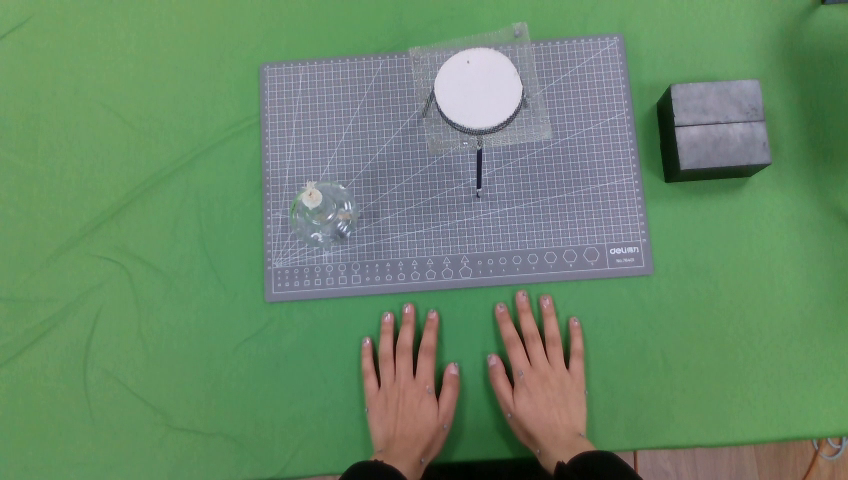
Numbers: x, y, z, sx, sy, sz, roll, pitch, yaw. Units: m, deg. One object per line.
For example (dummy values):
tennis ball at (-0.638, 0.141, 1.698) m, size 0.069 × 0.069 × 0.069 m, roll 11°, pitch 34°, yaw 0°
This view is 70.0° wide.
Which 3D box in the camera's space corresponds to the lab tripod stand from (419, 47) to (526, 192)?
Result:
lab tripod stand at (0.058, -0.142, 0.665) m, size 0.148 × 0.132 × 0.147 m, roll 0°, pitch 78°, yaw 2°

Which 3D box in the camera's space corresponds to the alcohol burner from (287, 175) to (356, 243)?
alcohol burner at (-0.116, -0.038, 0.664) m, size 0.078 × 0.119 × 0.077 m, roll 0°, pitch 78°, yaw 2°

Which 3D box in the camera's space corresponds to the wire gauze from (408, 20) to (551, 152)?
wire gauze at (0.053, -0.152, 0.599) m, size 0.125 × 0.011 × 0.121 m, roll -10°, pitch 80°, yaw 0°
